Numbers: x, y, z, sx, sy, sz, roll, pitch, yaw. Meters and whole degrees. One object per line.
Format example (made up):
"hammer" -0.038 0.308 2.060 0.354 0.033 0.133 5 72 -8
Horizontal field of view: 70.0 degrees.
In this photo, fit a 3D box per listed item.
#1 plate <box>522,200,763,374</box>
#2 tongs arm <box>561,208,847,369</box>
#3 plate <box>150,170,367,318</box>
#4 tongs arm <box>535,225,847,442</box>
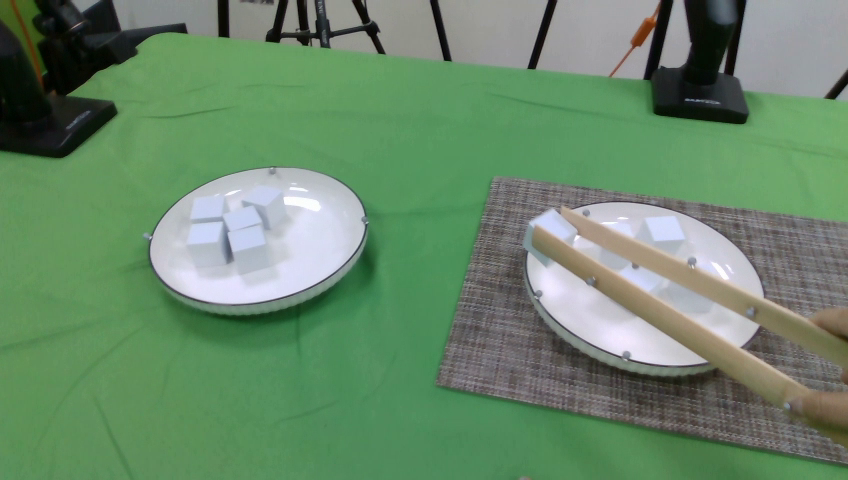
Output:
"plate" 0.193 0.041 0.555 0.208 0.039 0.205 0 42 1
"tongs arm" 0.240 0.069 0.406 0.381 0.027 0.051 29 51 35
"plate" -0.160 0.004 0.608 0.209 0.038 0.207 0 41 0
"tongs arm" 0.222 0.080 0.395 0.028 0.028 0.383 -29 45 -31
